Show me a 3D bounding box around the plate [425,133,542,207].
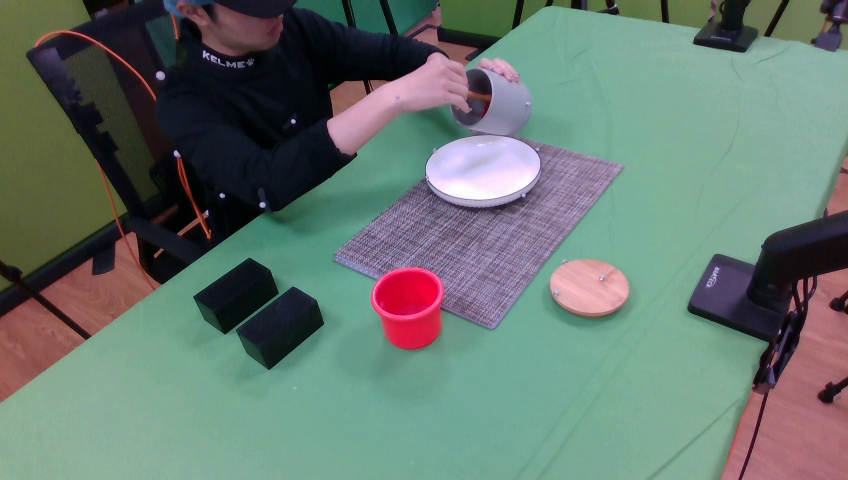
[{"bbox_3d":[0.106,-0.122,1.079,0.207,0.039,0.206,-4,41,4],"label":"plate"}]

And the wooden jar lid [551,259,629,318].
[{"bbox_3d":[0.234,0.070,0.857,0.108,0.021,0.108,-5,40,4],"label":"wooden jar lid"}]

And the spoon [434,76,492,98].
[{"bbox_3d":[0.097,-0.258,1.054,0.195,0.021,0.041,2,66,-31],"label":"spoon"}]

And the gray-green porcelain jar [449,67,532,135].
[{"bbox_3d":[0.126,-0.248,1.098,0.127,0.106,0.105,0,27,-45],"label":"gray-green porcelain jar"}]
